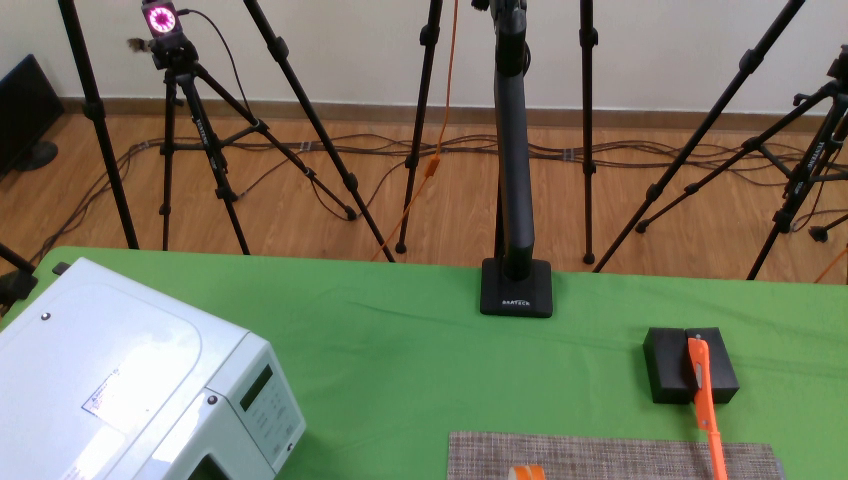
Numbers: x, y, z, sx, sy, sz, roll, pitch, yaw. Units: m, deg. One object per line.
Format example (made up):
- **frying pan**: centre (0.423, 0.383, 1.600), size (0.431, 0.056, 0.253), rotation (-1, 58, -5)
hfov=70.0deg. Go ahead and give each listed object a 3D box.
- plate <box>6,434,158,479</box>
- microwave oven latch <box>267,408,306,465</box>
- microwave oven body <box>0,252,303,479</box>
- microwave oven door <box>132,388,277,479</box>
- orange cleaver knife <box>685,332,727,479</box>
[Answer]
- **plate**: centre (-0.427, 0.344, 0.739), size (0.208, 0.039, 0.205), rotation (1, 49, -1)
- **microwave oven latch**: centre (-0.195, 0.271, 0.846), size (0.030, 0.030, 0.079), rotation (21, 55, 18)
- **microwave oven body**: centre (-0.411, 0.286, 0.717), size (0.324, 0.262, 0.439), rotation (20, 55, 18)
- **microwave oven door**: centre (-0.299, 0.357, 0.645), size (0.039, 0.246, 0.354), rotation (19, 54, 18)
- **orange cleaver knife**: centre (0.389, 0.229, 0.844), size (0.012, 0.077, 0.210), rotation (-2, 71, 4)
